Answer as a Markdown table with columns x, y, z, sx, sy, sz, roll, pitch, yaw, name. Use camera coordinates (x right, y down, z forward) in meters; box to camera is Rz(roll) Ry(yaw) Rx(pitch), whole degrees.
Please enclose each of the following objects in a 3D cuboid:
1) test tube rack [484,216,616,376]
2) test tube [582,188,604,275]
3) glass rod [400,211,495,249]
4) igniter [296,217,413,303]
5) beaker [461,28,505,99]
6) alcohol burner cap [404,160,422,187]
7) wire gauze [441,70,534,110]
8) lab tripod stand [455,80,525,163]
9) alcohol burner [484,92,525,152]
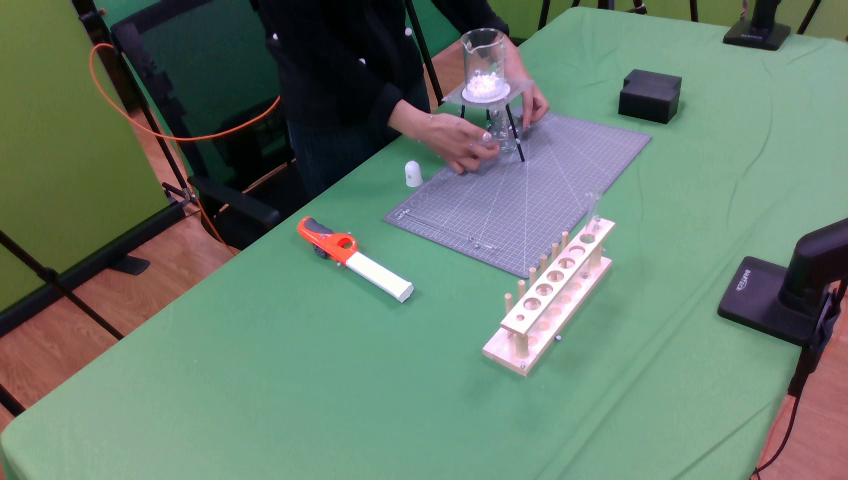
| x | y | z | sx | sy | sz | roll | pitch | yaw | name |
| --- | --- | --- | --- | --- | --- | --- | --- | --- | --- |
| 0.174 | 0.064 | 0.823 | 0.066 | 0.085 | 0.243 | 23 | 49 | 33 | test tube rack |
| 0.228 | -0.007 | 0.821 | 0.017 | 0.151 | 0.017 | -3 | 42 | 3 | test tube |
| 0.035 | -0.018 | 1.001 | 0.198 | 0.008 | 0.008 | 22 | 49 | 35 | glass rod |
| -0.121 | 0.025 | 0.970 | 0.274 | 0.025 | 0.057 | 29 | 63 | 37 | igniter |
| 0.103 | -0.304 | 1.051 | 0.073 | 0.101 | 0.084 | 19 | 48 | 28 | beaker |
| -0.022 | -0.125 | 1.118 | 0.034 | 0.048 | 0.033 | -5 | 40 | 5 | alcohol burner cap |
| 0.114 | -0.268 | 1.082 | 0.120 | 0.011 | 0.125 | 22 | 47 | 28 | wire gauze |
| 0.121 | -0.219 | 1.126 | 0.148 | 0.132 | 0.147 | -4 | 39 | 4 | lab tripod stand |
| 0.152 | -0.229 | 1.147 | 0.078 | 0.119 | 0.077 | -6 | 42 | 5 | alcohol burner |
